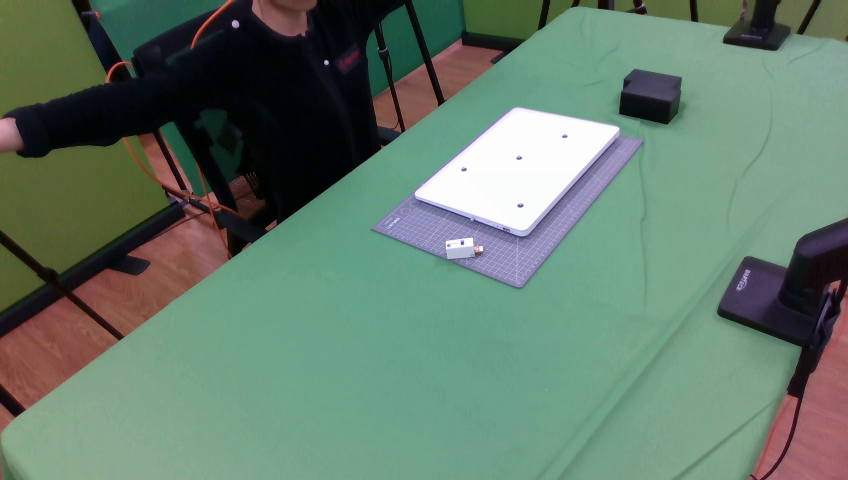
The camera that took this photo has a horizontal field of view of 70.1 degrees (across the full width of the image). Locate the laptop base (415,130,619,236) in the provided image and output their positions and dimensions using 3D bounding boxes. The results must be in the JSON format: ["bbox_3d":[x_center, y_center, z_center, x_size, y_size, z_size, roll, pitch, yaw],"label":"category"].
[{"bbox_3d":[0.178,-0.137,1.112,0.233,0.023,0.355,19,48,34],"label":"laptop base"}]

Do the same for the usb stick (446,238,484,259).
[{"bbox_3d":[0.064,0.013,0.946,0.059,0.027,0.021,-4,41,3],"label":"usb stick"}]

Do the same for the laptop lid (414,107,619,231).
[{"bbox_3d":[0.174,-0.147,1.106,0.239,0.013,0.358,22,49,34],"label":"laptop lid"}]
